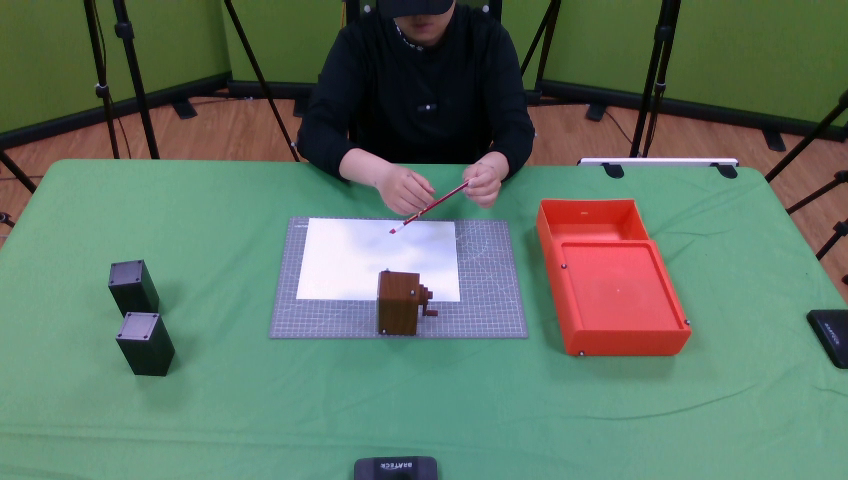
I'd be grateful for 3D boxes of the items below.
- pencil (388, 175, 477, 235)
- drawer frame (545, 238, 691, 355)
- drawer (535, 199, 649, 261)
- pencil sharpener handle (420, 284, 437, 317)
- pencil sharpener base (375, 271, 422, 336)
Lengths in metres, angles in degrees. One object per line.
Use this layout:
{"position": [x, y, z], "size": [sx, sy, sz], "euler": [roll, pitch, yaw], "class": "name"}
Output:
{"position": [0.017, -0.066, 1.121], "size": [0.194, 0.012, 0.012], "euler": [-33, 50, 5], "class": "pencil"}
{"position": [0.338, 0.097, 1.086], "size": [0.202, 0.083, 0.212], "euler": [0, 46, -4], "class": "drawer frame"}
{"position": [0.332, 0.015, 1.169], "size": [0.195, 0.073, 0.210], "euler": [0, 46, -5], "class": "drawer"}
{"position": [0.009, 0.104, 1.017], "size": [0.030, 0.068, 0.036], "euler": [3, 40, -2], "class": "pencil sharpener handle"}
{"position": [-0.043, 0.109, 1.025], "size": [0.077, 0.107, 0.061], "euler": [3, 45, -2], "class": "pencil sharpener base"}
